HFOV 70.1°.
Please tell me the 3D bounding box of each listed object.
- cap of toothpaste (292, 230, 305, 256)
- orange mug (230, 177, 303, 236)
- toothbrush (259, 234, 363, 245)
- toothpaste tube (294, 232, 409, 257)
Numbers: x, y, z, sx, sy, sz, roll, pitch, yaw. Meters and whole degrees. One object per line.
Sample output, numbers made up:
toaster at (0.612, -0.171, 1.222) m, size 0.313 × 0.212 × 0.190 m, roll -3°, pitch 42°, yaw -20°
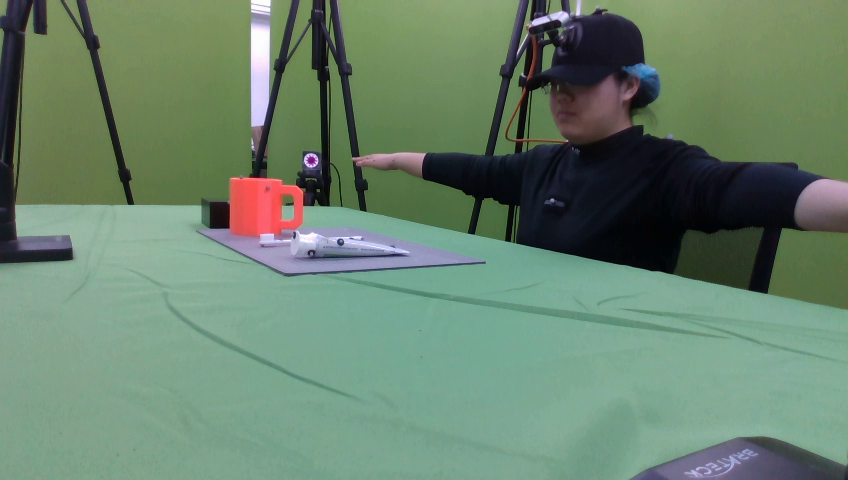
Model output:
cap of toothpaste at (-0.169, 0.004, 0.812) m, size 0.011 × 0.037 × 0.037 m, roll 6°, pitch 4°, yaw -30°
orange mug at (-0.275, -0.060, 1.058) m, size 0.126 × 0.101 × 0.083 m, roll -2°, pitch 8°, yaw -5°
toothbrush at (-0.175, -0.002, 0.958) m, size 0.183 × 0.016 × 0.014 m, roll -1°, pitch -5°, yaw -39°
toothpaste tube at (-0.103, 0.010, 0.853) m, size 0.166 × 0.034 × 0.055 m, roll 3°, pitch 11°, yaw -34°
